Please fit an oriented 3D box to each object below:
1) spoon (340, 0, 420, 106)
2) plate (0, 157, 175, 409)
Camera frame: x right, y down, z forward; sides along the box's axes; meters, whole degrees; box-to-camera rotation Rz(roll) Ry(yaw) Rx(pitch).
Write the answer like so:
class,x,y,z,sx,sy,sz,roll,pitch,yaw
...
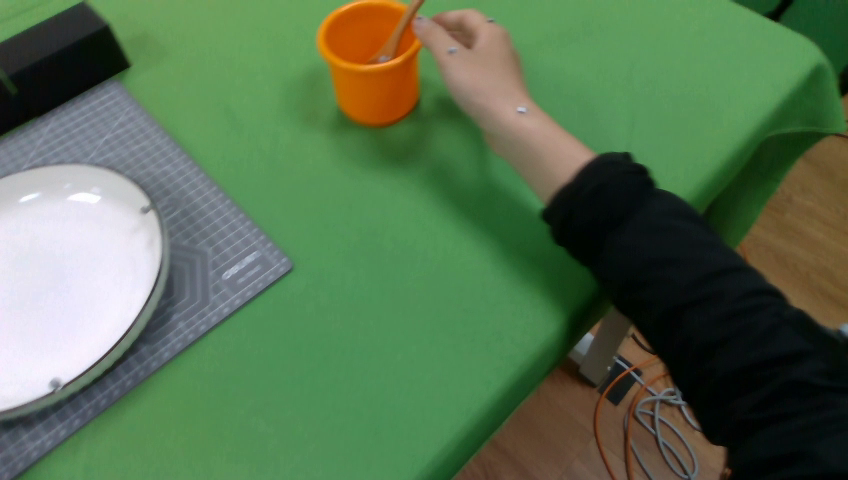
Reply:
class,x,y,z,sx,sy,sz,roll,pitch,yaw
spoon,-0.013,-0.196,0.521,0.041,0.194,0.022,49,27,22
plate,-0.287,0.029,0.452,0.209,0.038,0.207,0,58,1
